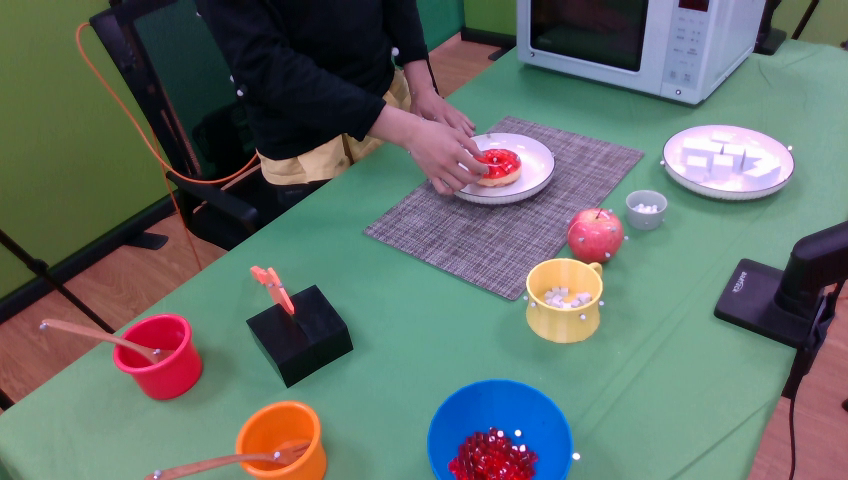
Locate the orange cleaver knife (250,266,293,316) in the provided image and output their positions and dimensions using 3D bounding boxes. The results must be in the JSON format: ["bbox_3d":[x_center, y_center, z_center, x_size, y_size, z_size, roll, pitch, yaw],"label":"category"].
[{"bbox_3d":[-0.221,0.071,0.873,0.012,0.077,0.210,-25,11,-21],"label":"orange cleaver knife"}]

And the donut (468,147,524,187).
[{"bbox_3d":[0.128,-0.132,1.075,0.099,0.048,0.098,-5,38,5],"label":"donut"}]

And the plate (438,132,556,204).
[{"bbox_3d":[0.130,-0.125,1.084,0.209,0.038,0.208,-4,40,4],"label":"plate"}]

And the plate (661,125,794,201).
[{"bbox_3d":[0.513,-0.128,1.035,0.207,0.039,0.206,-4,40,4],"label":"plate"}]

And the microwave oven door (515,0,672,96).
[{"bbox_3d":[0.343,-0.454,1.259,0.353,0.245,0.039,26,51,33],"label":"microwave oven door"}]

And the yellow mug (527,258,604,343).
[{"bbox_3d":[0.201,0.073,0.825,0.131,0.064,0.099,-32,46,-27],"label":"yellow mug"}]

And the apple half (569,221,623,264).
[{"bbox_3d":[0.251,0.010,0.884,0.081,0.081,0.032,3,37,12],"label":"apple half"}]

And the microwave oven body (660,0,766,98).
[{"bbox_3d":[0.472,-0.513,1.317,0.438,0.261,0.327,26,51,34],"label":"microwave oven body"}]

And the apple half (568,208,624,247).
[{"bbox_3d":[0.259,-0.014,0.914,0.080,0.075,0.053,0,36,15],"label":"apple half"}]

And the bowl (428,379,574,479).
[{"bbox_3d":[0.082,0.233,0.644,0.151,0.077,0.150,-4,40,4],"label":"bowl"}]

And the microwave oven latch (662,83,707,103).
[{"bbox_3d":[0.517,-0.296,1.204,0.078,0.029,0.030,27,52,35],"label":"microwave oven latch"}]

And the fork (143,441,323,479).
[{"bbox_3d":[-0.189,0.231,0.631,0.028,0.018,0.209,36,13,37],"label":"fork"}]

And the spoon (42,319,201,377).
[{"bbox_3d":[-0.385,0.135,0.779,0.195,0.021,0.041,29,37,-26],"label":"spoon"}]

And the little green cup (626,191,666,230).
[{"bbox_3d":[0.352,-0.046,0.963,0.061,0.039,0.061,-4,40,4],"label":"little green cup"}]
